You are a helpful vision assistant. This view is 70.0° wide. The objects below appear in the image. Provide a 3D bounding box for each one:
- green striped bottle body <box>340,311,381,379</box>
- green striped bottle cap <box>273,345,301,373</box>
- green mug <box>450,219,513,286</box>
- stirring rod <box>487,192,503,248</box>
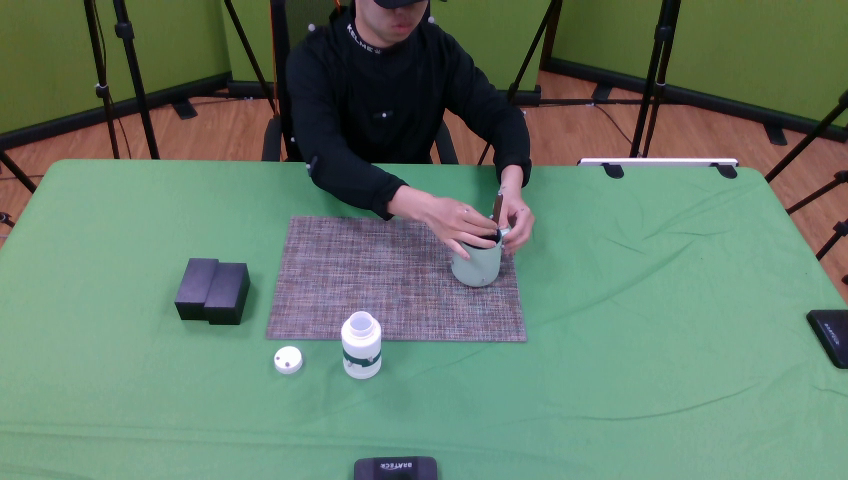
[{"bbox_3d":[-0.101,0.164,0.964,0.063,0.120,0.063,2,46,-2],"label":"green striped bottle body"},{"bbox_3d":[-0.225,0.195,0.997,0.044,0.020,0.044,2,50,-3],"label":"green striped bottle cap"},{"bbox_3d":[0.111,0.018,1.125,0.125,0.105,0.092,-22,52,-23],"label":"green mug"},{"bbox_3d":[0.125,-0.013,1.097,0.014,0.177,0.006,-5,40,-10],"label":"stirring rod"}]
